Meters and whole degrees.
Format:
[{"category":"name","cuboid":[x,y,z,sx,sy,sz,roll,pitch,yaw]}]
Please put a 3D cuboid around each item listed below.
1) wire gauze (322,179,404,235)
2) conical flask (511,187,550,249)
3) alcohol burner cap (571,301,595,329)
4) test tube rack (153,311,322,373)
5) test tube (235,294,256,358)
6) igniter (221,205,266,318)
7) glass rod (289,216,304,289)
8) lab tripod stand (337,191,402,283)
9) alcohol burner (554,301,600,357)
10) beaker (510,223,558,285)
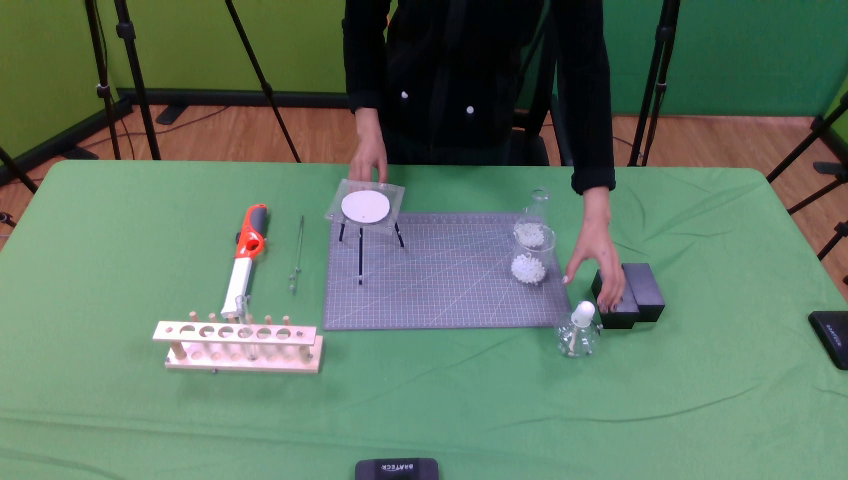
[{"category":"wire gauze","cuboid":[-0.106,-0.064,1.078,0.125,0.011,0.121,11,45,5]},{"category":"conical flask","cuboid":[0.217,-0.048,1.190,0.075,0.122,0.075,2,46,-2]},{"category":"alcohol burner cap","cuboid":[0.262,0.120,0.991,0.034,0.048,0.033,2,52,-2]},{"category":"test tube rack","cuboid":[-0.293,0.160,0.978,0.242,0.085,0.066,3,46,-2]},{"category":"test tube","cuboid":[-0.274,0.136,0.933,0.017,0.151,0.017,4,45,-4]},{"category":"igniter","cuboid":[-0.338,0.030,1.140,0.057,0.025,0.274,-5,46,3]},{"category":"glass rod","cuboid":[-0.246,0.020,1.171,0.008,0.008,0.198,1,43,-3]},{"category":"lab tripod stand","cuboid":[-0.106,-0.016,1.125,0.148,0.132,0.147,3,44,-2]},{"category":"alcohol burner","cuboid":[0.261,0.143,1.018,0.078,0.119,0.077,3,44,-3]},{"category":"beaker","cuboid":[0.199,0.028,1.132,0.083,0.101,0.074,26,49,21]}]
